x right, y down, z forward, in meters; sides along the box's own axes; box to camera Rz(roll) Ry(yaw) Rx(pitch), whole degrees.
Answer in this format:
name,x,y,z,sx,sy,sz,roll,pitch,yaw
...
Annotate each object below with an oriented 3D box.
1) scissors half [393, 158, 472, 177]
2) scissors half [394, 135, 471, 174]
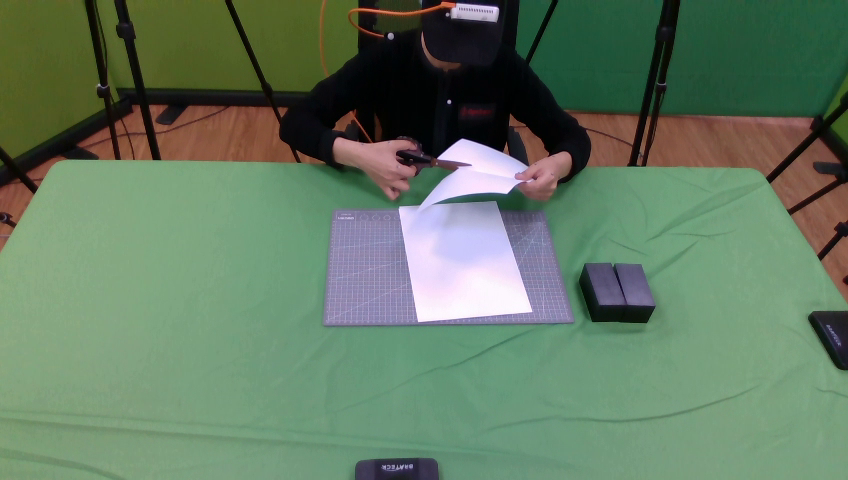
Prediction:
name,x,y,z,sx,sy,sz,roll,pitch,yaw
scissors half,0.016,-0.152,1.251,0.175,0.040,0.013,0,27,24
scissors half,0.017,-0.172,1.240,0.175,0.040,0.013,27,39,8
